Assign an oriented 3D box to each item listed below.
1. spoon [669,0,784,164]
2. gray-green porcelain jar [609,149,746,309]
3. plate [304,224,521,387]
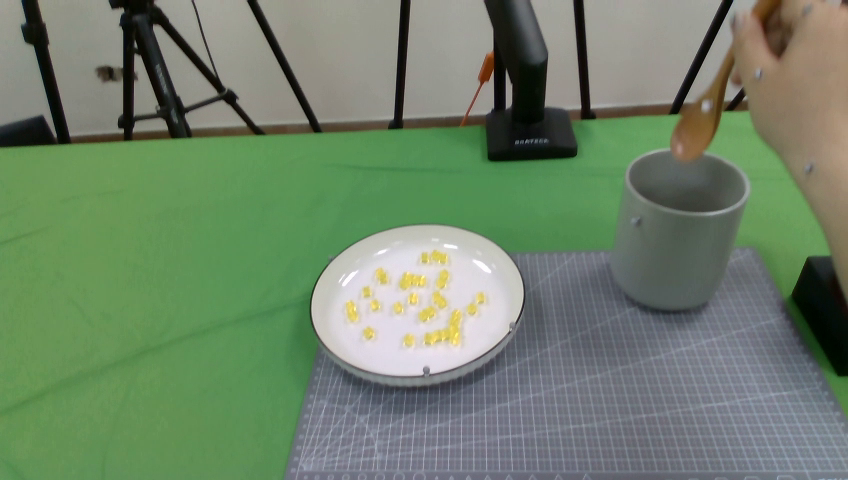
[{"bbox_3d":[0.215,-0.121,0.419,0.021,0.195,0.041,-3,59,-2],"label":"spoon"},{"bbox_3d":[0.234,-0.005,0.577,0.106,0.128,0.105,-3,40,3],"label":"gray-green porcelain jar"},{"bbox_3d":[-0.010,0.062,0.592,0.207,0.039,0.205,-3,40,3],"label":"plate"}]
